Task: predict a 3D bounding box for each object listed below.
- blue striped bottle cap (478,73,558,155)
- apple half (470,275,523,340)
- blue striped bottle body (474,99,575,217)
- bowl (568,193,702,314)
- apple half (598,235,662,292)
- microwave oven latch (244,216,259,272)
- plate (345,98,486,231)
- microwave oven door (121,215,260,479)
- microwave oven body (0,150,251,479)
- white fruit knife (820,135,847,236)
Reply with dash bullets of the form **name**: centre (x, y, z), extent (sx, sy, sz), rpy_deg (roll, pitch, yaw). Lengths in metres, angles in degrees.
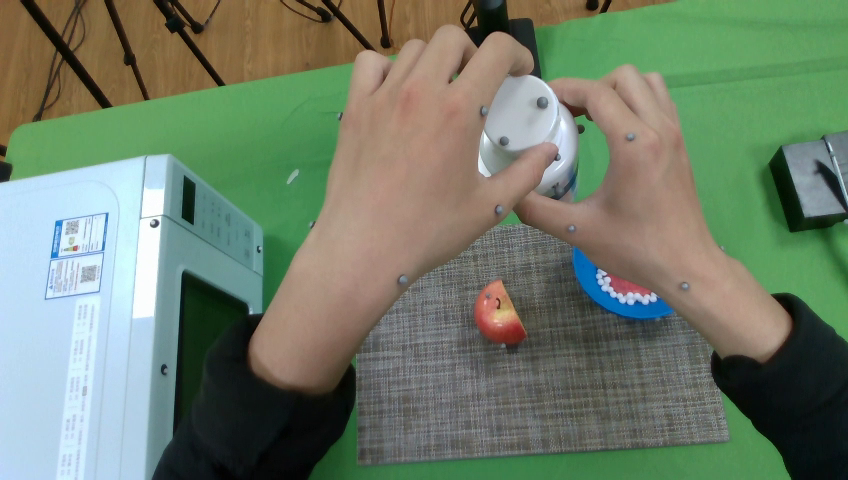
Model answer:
- **blue striped bottle cap**: centre (0.053, -0.072, 0.346), extent (0.044, 0.021, 0.044), rpy_deg (-1, 88, 18)
- **apple half**: centre (0.086, 0.092, 0.765), extent (0.053, 0.075, 0.080), rpy_deg (-27, 72, 5)
- **blue striped bottle body**: centre (0.070, -0.058, 0.412), extent (0.063, 0.121, 0.063), rpy_deg (-3, 79, 14)
- **bowl**: centre (0.255, 0.026, 0.751), extent (0.151, 0.077, 0.150), rpy_deg (-4, 71, 11)
- **apple half**: centre (0.255, 0.025, 0.746), extent (0.081, 0.033, 0.080), rpy_deg (-4, 69, 10)
- **microwave oven latch**: centre (-0.254, 0.006, 0.867), extent (0.030, 0.030, 0.078), rpy_deg (-10, 70, 7)
- **plate**: centre (-0.010, -0.106, 0.876), extent (0.207, 0.039, 0.206), rpy_deg (-3, 71, 10)
- **microwave oven door**: centre (-0.257, 0.177, 0.699), extent (0.039, 0.246, 0.353), rpy_deg (-9, 70, 9)
- **microwave oven body**: centre (-0.403, 0.161, 0.739), extent (0.326, 0.262, 0.438), rpy_deg (-8, 70, 8)
- **white fruit knife**: centre (0.503, -0.027, 0.718), extent (0.016, 0.027, 0.207), rpy_deg (-18, 85, 24)
